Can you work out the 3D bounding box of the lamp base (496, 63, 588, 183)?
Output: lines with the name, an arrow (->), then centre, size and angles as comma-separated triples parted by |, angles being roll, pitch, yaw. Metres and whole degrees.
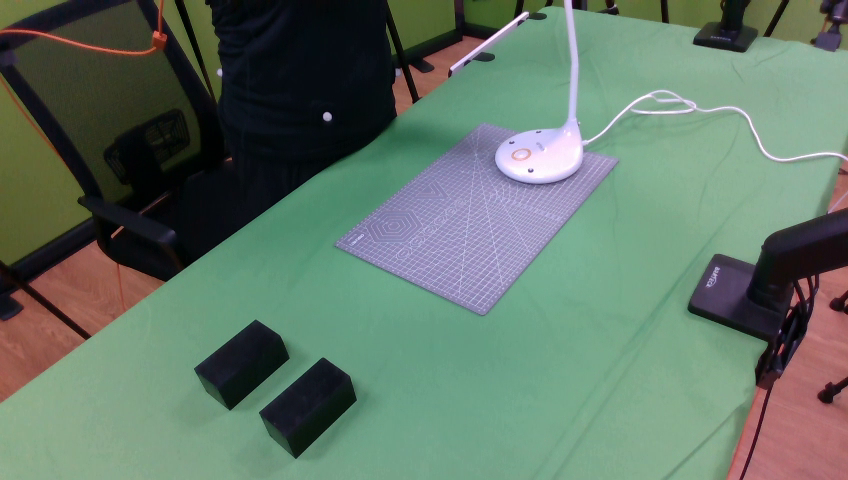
lamp base -> 0.216, -0.217, 1.067 | 0.180, 0.181, 0.159 | -20, 42, -18
